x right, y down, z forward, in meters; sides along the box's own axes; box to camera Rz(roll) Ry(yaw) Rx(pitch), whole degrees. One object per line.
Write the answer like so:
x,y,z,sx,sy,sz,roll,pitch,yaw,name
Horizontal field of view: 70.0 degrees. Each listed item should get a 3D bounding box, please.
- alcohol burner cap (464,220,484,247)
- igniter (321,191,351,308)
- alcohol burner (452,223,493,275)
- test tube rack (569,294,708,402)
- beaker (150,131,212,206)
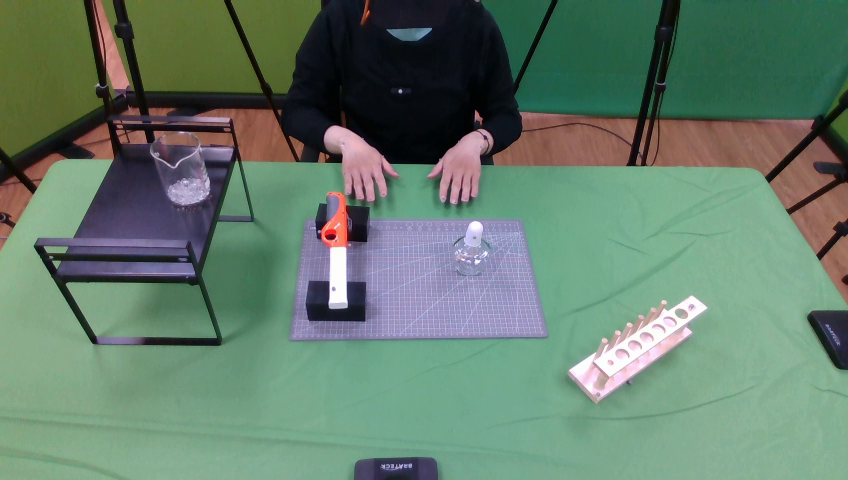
0.092,-0.015,1.098,0.034,0.048,0.033,5,44,-4,alcohol burner cap
-0.159,0.008,1.101,0.057,0.025,0.274,-2,48,-7,igniter
0.091,0.008,1.124,0.078,0.119,0.077,2,48,-2,alcohol burner
0.360,0.167,1.014,0.242,0.085,0.066,-25,53,-25,test tube rack
-0.385,-0.110,0.969,0.074,0.101,0.083,-6,48,-9,beaker
